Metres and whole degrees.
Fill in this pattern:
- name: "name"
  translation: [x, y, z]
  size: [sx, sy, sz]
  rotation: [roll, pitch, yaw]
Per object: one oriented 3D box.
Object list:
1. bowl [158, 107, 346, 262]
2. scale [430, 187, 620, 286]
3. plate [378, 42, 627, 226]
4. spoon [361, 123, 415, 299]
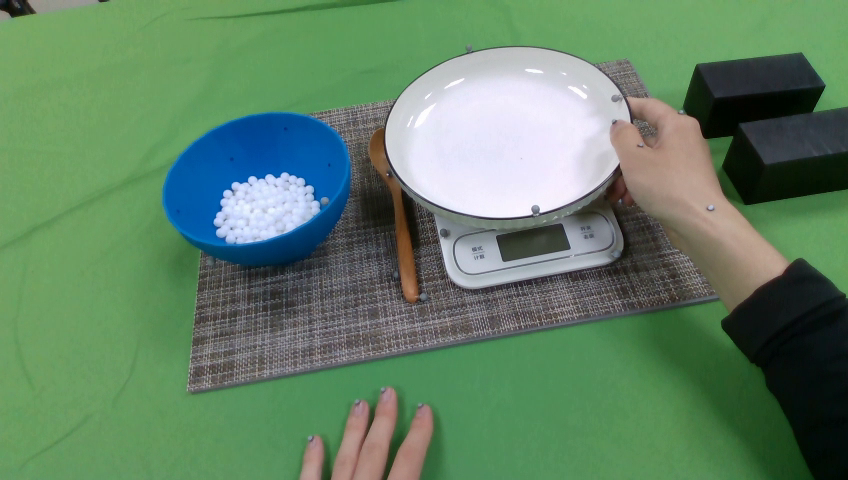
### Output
- name: "bowl"
  translation: [-0.134, -0.034, 0.513]
  size: [0.151, 0.077, 0.150]
  rotation: [-2, 53, 4]
- name: "scale"
  translation: [0.074, -0.057, 0.540]
  size: [0.149, 0.032, 0.198]
  rotation: [-11, 53, -2]
- name: "plate"
  translation: [0.065, -0.091, 0.519]
  size: [0.209, 0.038, 0.207]
  rotation: [-4, 54, 6]
- name: "spoon"
  translation: [-0.028, -0.032, 0.537]
  size: [0.042, 0.022, 0.191]
  rotation: [-1, 52, -13]
